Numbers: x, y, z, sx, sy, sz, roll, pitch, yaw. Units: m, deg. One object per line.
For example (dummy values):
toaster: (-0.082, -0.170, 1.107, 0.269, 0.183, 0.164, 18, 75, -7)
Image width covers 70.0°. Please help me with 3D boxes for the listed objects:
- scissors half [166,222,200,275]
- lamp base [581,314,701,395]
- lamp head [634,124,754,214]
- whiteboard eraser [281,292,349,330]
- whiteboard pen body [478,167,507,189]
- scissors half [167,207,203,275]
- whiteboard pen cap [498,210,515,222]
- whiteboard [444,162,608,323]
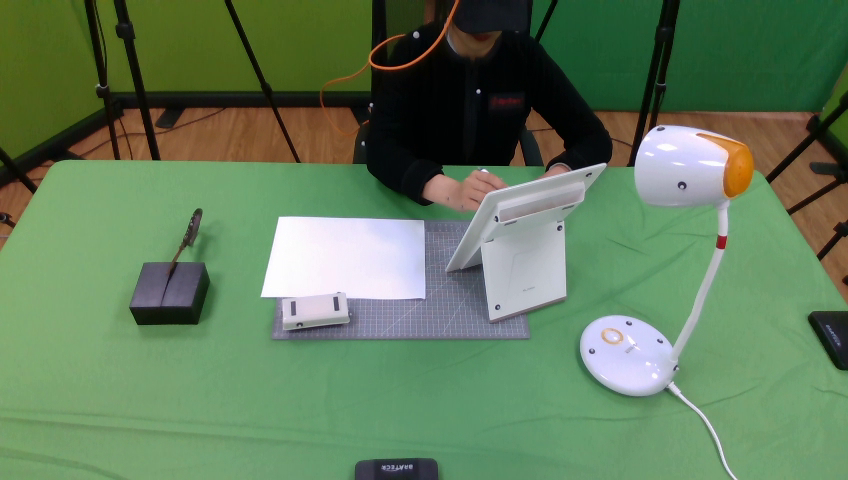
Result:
scissors half: (-0.444, 0.015, 1.116, 0.013, 0.040, 0.174, 17, 27, -11)
lamp base: (0.361, 0.145, 0.973, 0.178, 0.181, 0.160, 34, 53, 23)
lamp head: (0.351, -0.089, 0.776, 0.112, 0.113, 0.122, -30, 30, -28)
whiteboard eraser: (-0.189, 0.124, 1.045, 0.113, 0.042, 0.055, -6, 46, -10)
whiteboard pen body: (0.140, -0.090, 1.067, 0.017, 0.017, 0.140, -22, 45, -23)
scissors half: (-0.436, 0.000, 1.104, 0.013, 0.040, 0.174, 21, 44, -14)
whiteboard pen cap: (0.169, -0.049, 1.248, 0.033, 0.018, 0.018, 19, 47, 0)
whiteboard: (0.186, 0.025, 1.029, 0.217, 0.306, 0.143, -14, 68, -18)
